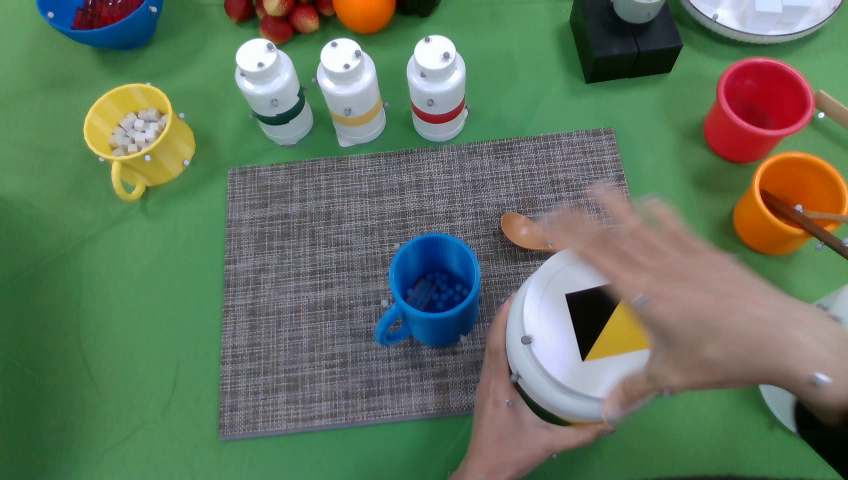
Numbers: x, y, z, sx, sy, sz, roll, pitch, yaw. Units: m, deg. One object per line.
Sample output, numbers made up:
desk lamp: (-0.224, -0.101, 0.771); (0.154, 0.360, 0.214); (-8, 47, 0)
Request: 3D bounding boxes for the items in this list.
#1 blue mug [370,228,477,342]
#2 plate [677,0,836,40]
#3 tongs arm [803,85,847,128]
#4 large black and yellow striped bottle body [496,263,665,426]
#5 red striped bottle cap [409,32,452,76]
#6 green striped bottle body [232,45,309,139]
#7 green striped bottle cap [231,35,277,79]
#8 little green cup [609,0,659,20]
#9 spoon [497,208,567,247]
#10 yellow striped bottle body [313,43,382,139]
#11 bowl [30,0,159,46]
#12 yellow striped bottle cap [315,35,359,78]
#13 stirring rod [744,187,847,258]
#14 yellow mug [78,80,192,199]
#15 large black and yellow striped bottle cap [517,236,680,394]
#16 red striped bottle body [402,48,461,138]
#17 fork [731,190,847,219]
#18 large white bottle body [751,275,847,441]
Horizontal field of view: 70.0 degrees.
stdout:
blue mug: (-0.003, 0.056, 0.581); (0.116, 0.106, 0.082); (-38, 70, -11)
plate: (0.403, -0.330, 0.753); (0.209, 0.038, 0.207); (-1, 69, 2)
tongs arm: (0.582, -0.055, 0.636); (0.051, 0.027, 0.382); (-41, 72, -16)
large black and yellow striped bottle body: (0.130, 0.085, 0.519); (0.131, 0.185, 0.130); (-1, 68, 3)
red striped bottle cap: (0.007, -0.190, 0.617); (0.044, 0.018, 0.044); (0, 67, 0)
green striped bottle body: (-0.172, -0.170, 0.675); (0.063, 0.120, 0.062); (-1, 68, 2)
green striped bottle cap: (-0.176, -0.190, 0.627); (0.044, 0.020, 0.044); (0, 67, 0)
little green cup: (0.241, -0.284, 0.688); (0.061, 0.039, 0.061); (-1, 66, 2)
spoon: (0.165, 0.014, 0.634); (0.193, 0.022, 0.041); (23, 49, 11)
yellow striped bottle body: (-0.085, -0.169, 0.670); (0.063, 0.121, 0.062); (-1, 67, 3)
bowl: (-0.396, -0.299, 0.760); (0.151, 0.077, 0.150); (-1, 68, 2)
yellow striped bottle cap: (-0.089, -0.188, 0.622); (0.044, 0.019, 0.044); (1, 64, -1)
stirring rod: (0.358, -0.020, 0.581); (0.014, 0.006, 0.174); (-4, 25, -1)
yellow mug: (-0.330, -0.109, 0.688); (0.100, 0.064, 0.130); (3, 69, 4)
large black and yellow striped bottle cap: (0.125, 0.052, 0.438); (0.115, 0.019, 0.114); (-1, 73, 3)
red striped bottle body: (0.010, -0.170, 0.666); (0.063, 0.120, 0.062); (-1, 67, 3)
fork: (0.388, -0.022, 0.572); (0.028, 0.019, 0.205); (-33, 26, -18)
large white bottle body: (0.377, 0.095, 0.507); (0.130, 0.186, 0.129); (-1, 68, 3)
